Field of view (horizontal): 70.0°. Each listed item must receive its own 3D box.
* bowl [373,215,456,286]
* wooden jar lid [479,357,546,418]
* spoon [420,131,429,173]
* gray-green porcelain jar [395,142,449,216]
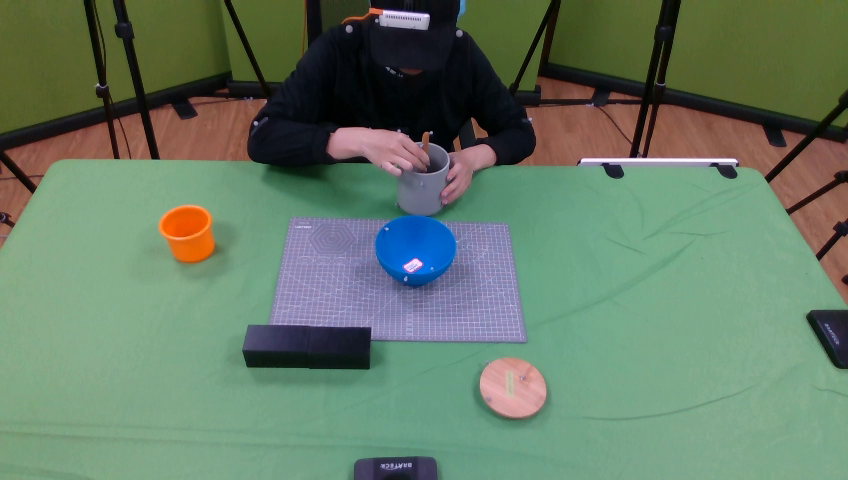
[{"bbox_3d":[-0.019,0.032,1.122,0.151,0.077,0.150,2,46,-2],"label":"bowl"},{"bbox_3d":[0.142,0.240,0.979,0.108,0.021,0.107,1,46,-1],"label":"wooden jar lid"},{"bbox_3d":[-0.004,-0.137,1.196,0.041,0.194,0.021,1,44,-3],"label":"spoon"},{"bbox_3d":[-0.007,-0.120,1.241,0.106,0.127,0.105,2,46,-2],"label":"gray-green porcelain jar"}]
